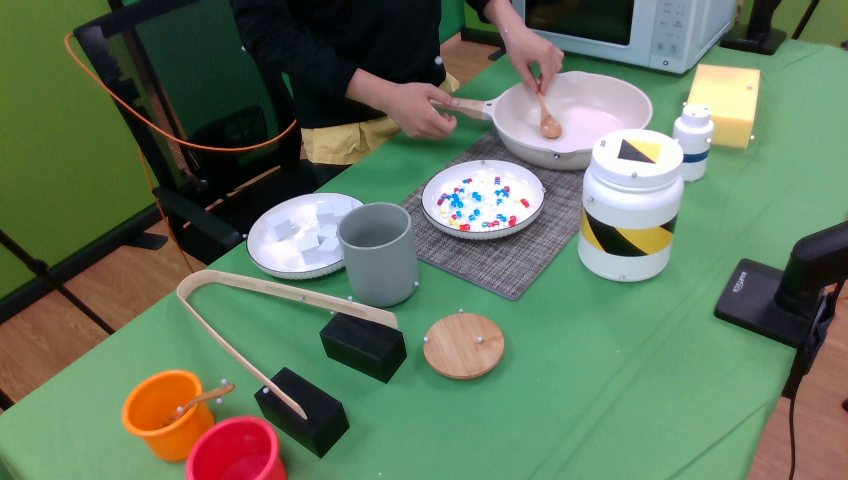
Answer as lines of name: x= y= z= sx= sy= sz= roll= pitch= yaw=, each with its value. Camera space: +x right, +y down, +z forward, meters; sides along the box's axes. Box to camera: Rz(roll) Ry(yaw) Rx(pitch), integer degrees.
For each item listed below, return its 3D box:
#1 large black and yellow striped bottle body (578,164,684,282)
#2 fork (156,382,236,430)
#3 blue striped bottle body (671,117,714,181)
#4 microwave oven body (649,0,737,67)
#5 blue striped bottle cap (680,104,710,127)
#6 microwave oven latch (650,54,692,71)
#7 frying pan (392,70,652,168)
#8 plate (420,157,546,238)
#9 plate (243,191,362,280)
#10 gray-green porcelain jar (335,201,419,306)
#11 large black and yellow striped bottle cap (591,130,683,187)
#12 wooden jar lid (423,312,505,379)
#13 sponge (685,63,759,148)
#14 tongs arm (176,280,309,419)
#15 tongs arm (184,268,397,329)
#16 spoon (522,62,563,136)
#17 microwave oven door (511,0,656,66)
large black and yellow striped bottle body: x=0.291 y=-0.046 z=0.859 sx=0.131 sy=0.185 sz=0.130 roll=-4 pitch=41 yaw=4
fork: x=-0.262 y=0.189 z=0.690 sx=0.018 sy=0.206 sz=0.028 roll=49 pitch=43 yaw=-7
blue striped bottle body: x=0.450 y=-0.165 z=1.022 sx=0.063 sy=0.121 sz=0.063 roll=-5 pitch=41 yaw=4
microwave oven body: x=0.475 y=-0.602 z=1.411 sx=0.438 sy=0.261 sz=0.327 roll=23 pitch=50 yaw=32
blue striped bottle cap: x=0.443 y=-0.205 z=0.989 sx=0.044 sy=0.021 sz=0.044 roll=-1 pitch=41 yaw=2
microwave oven latch: x=0.531 y=-0.386 z=1.301 sx=0.078 sy=0.029 sz=0.030 roll=24 pitch=50 yaw=32
frying pan: x=0.176 y=-0.248 z=1.165 sx=0.487 sy=0.103 sz=0.306 roll=12 pitch=42 yaw=9
plate: x=0.099 y=-0.067 z=1.017 sx=0.209 sy=0.038 sz=0.208 roll=-4 pitch=40 yaw=4
plate: x=-0.188 y=-0.005 z=0.992 sx=0.207 sy=0.039 sz=0.206 roll=-4 pitch=40 yaw=4
gray-green porcelain jar: x=-0.064 y=0.024 z=0.872 sx=0.106 sy=0.127 sz=0.105 roll=-4 pitch=41 yaw=4
large black and yellow striped bottle cap: x=0.282 y=-0.111 z=0.803 sx=0.115 sy=0.019 sz=0.114 roll=-3 pitch=41 yaw=3
wooden jar lid: x=0.053 y=0.142 z=0.800 sx=0.108 sy=0.021 sz=0.108 roll=-5 pitch=39 yaw=4
sponge: x=0.569 y=-0.263 z=1.164 sx=0.117 sy=0.061 sz=0.207 roll=12 pitch=45 yaw=22
tongs arm: x=-0.254 y=0.133 z=0.801 sx=0.028 sy=0.028 sz=0.384 roll=-41 pitch=41 yaw=-23
tongs arm: x=-0.202 y=0.084 z=0.848 sx=0.382 sy=0.027 sz=0.051 roll=11 pitch=45 yaw=35
spoon: x=0.232 y=-0.284 z=1.205 sx=0.042 sy=0.022 sz=0.192 roll=-14 pitch=68 yaw=-2
microwave oven door: x=0.351 y=-0.540 z=1.350 sx=0.353 sy=0.245 sz=0.039 roll=24 pitch=50 yaw=31
